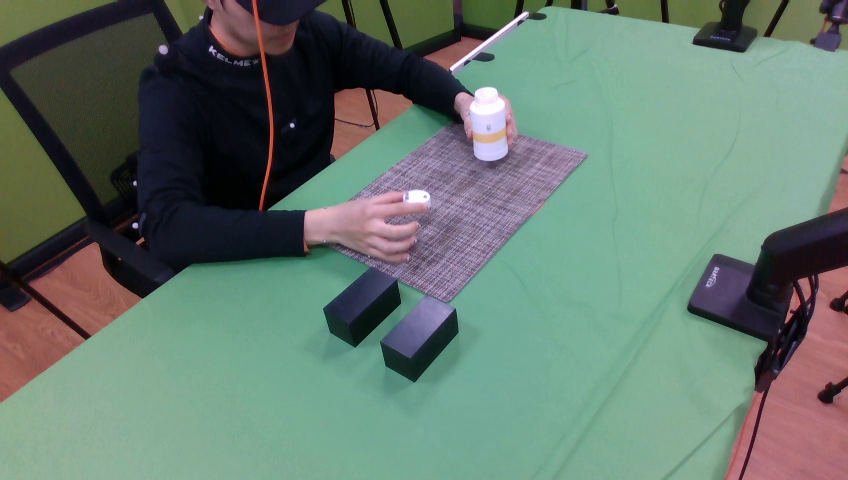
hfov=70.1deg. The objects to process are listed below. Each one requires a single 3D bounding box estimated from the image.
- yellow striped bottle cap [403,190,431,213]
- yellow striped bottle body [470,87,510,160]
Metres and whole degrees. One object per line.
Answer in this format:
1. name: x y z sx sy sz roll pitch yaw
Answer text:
1. yellow striped bottle cap: -0.011 -0.061 0.959 0.044 0.019 0.044 -1 33 1
2. yellow striped bottle body: 0.116 -0.207 1.065 0.063 0.121 0.062 -7 40 6
